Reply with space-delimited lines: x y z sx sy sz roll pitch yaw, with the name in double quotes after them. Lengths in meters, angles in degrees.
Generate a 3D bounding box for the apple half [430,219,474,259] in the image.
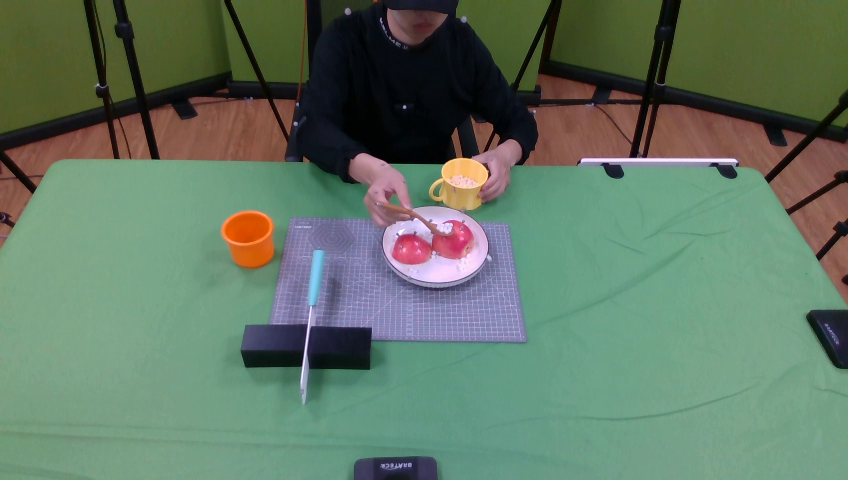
0.056 -0.007 1.172 0.081 0.053 0.074 -33 59 -31 "apple half"

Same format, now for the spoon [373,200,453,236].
-0.017 -0.042 1.076 0.195 0.021 0.041 24 17 -43 "spoon"

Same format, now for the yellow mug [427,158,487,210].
0.067 -0.116 1.284 0.131 0.064 0.099 -17 49 -17 "yellow mug"

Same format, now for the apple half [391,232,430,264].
-0.024 0.009 1.163 0.081 0.033 0.081 2 44 -2 "apple half"

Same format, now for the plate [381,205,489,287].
0.021 0.015 1.170 0.209 0.038 0.208 2 46 -2 "plate"

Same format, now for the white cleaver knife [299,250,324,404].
-0.194 0.134 1.019 0.021 0.066 0.284 5 50 -5 "white cleaver knife"
